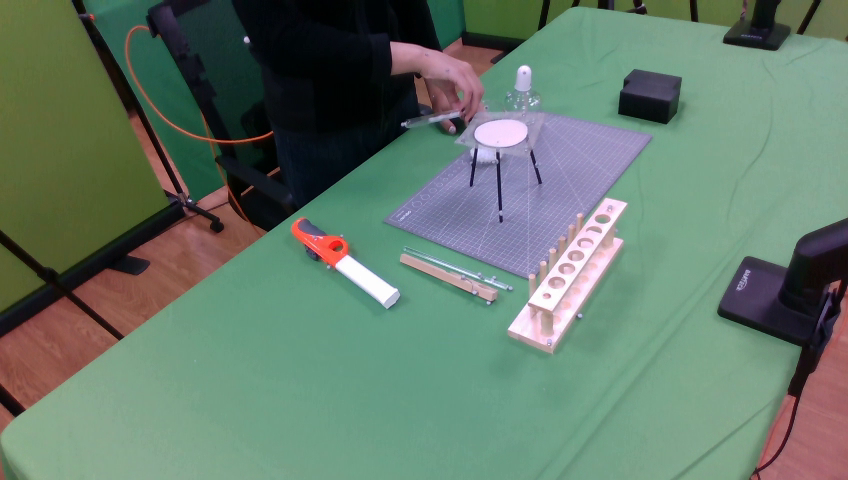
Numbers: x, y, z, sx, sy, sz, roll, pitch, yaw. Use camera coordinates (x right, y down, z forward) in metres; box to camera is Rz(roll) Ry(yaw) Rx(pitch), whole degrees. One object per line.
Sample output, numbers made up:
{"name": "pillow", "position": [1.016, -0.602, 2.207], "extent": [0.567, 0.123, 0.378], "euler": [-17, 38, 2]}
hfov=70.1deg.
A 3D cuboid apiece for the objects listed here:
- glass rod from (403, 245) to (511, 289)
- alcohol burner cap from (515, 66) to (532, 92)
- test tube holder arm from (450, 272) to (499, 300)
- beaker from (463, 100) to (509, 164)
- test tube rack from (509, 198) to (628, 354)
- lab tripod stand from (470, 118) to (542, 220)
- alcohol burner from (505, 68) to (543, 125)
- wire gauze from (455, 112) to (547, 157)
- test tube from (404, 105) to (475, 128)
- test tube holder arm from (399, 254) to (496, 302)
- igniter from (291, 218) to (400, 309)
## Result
{"name": "glass rod", "position": [0.047, 0.040, 0.939], "extent": [0.198, 0.008, 0.008], "euler": [21, 49, 30]}
{"name": "alcohol burner cap", "position": [0.198, -0.320, 1.192], "extent": [0.034, 0.048, 0.033], "euler": [0, 47, 1]}
{"name": "test tube holder arm", "position": [0.071, 0.068, 0.895], "extent": [0.087, 0.015, 0.010], "euler": [21, 15, 32]}
{"name": "beaker", "position": [0.120, -0.200, 1.134], "extent": [0.083, 0.101, 0.074], "euler": [5, 43, 16]}
{"name": "test tube rack", "position": [0.206, 0.039, 0.850], "extent": [0.066, 0.085, 0.243], "euler": [20, 48, 31]}
{"name": "lab tripod stand", "position": [0.135, -0.128, 1.019], "extent": [0.148, 0.132, 0.147], "euler": [-5, 38, 5]}
{"name": "alcohol burner", "position": [0.201, -0.293, 1.216], "extent": [0.078, 0.119, 0.077], "euler": [-4, 41, 4]}
{"name": "wire gauze", "position": [0.124, -0.176, 0.973], "extent": [0.124, 0.011, 0.121], "euler": [10, 42, 22]}
{"name": "test tube", "position": [0.028, -0.214, 1.047], "extent": [0.151, 0.017, 0.017], "euler": [-19, 39, -33]}
{"name": "test tube holder arm", "position": [0.032, 0.055, 0.914], "extent": [0.177, 0.015, 0.013], "euler": [21, 15, 32]}
{"name": "igniter", "position": [-0.136, 0.031, 0.970], "extent": [0.057, 0.025, 0.274], "euler": [-41, 49, -19]}
